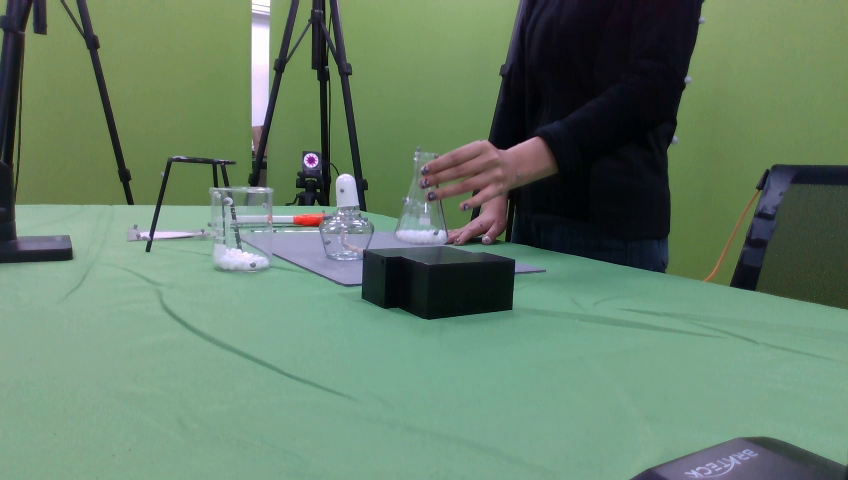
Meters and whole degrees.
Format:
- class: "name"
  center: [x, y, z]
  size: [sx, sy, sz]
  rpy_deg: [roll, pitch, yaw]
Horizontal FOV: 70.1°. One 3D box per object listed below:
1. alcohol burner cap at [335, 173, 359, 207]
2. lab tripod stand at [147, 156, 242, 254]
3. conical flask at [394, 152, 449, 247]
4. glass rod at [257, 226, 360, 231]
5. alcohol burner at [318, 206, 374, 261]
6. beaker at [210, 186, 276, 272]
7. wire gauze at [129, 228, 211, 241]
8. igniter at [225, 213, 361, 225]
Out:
- class: "alcohol burner cap"
  center: [-0.108, -0.068, 0.829]
  size: [0.034, 0.048, 0.034]
  rpy_deg: [-7, 4, 1]
- class: "lab tripod stand"
  center: [-0.310, -0.050, 0.858]
  size: [0.148, 0.131, 0.148]
  rpy_deg: [4, 6, 0]
- class: "conical flask"
  center: [0.000, -0.055, 0.809]
  size: [0.075, 0.122, 0.075]
  rpy_deg: [4, 9, 0]
- class: "glass rod"
  center: [-0.215, -0.022, 1.151]
  size: [0.201, 0.008, 0.008]
  rpy_deg: [-2, 8, -28]
- class: "alcohol burner"
  center: [-0.107, -0.032, 0.833]
  size: [0.078, 0.119, 0.078]
  rpy_deg: [1, 6, 0]
- class: "beaker"
  center: [-0.224, -0.014, 0.738]
  size: [0.084, 0.100, 0.074]
  rpy_deg: [4, 7, 16]
- class: "wire gauze"
  center: [-0.419, -0.010, 0.999]
  size: [0.122, 0.011, 0.124]
  rpy_deg: [0, 6, -25]
- class: "igniter"
  center: [-0.257, -0.042, 1.221]
  size: [0.278, 0.025, 0.057]
  rpy_deg: [-2, -2, -32]
